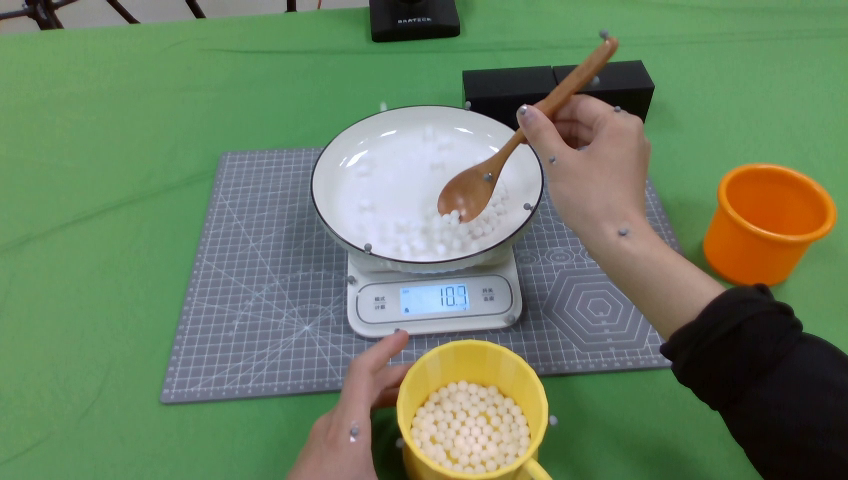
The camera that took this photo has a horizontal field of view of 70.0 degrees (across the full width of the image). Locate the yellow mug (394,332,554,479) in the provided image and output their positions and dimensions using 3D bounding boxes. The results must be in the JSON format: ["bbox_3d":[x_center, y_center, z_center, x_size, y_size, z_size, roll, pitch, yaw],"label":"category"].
[{"bbox_3d":[0.042,0.131,0.417,0.100,0.064,0.129,-38,59,-24],"label":"yellow mug"}]

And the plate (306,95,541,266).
[{"bbox_3d":[0.000,-0.055,0.550,0.209,0.038,0.207,0,50,1],"label":"plate"}]

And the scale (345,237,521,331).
[{"bbox_3d":[0.002,-0.012,0.556,0.149,0.032,0.199,-4,50,-1],"label":"scale"}]

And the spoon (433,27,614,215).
[{"bbox_3d":[0.071,-0.085,0.466,0.022,0.194,0.041,-12,64,-49],"label":"spoon"}]
